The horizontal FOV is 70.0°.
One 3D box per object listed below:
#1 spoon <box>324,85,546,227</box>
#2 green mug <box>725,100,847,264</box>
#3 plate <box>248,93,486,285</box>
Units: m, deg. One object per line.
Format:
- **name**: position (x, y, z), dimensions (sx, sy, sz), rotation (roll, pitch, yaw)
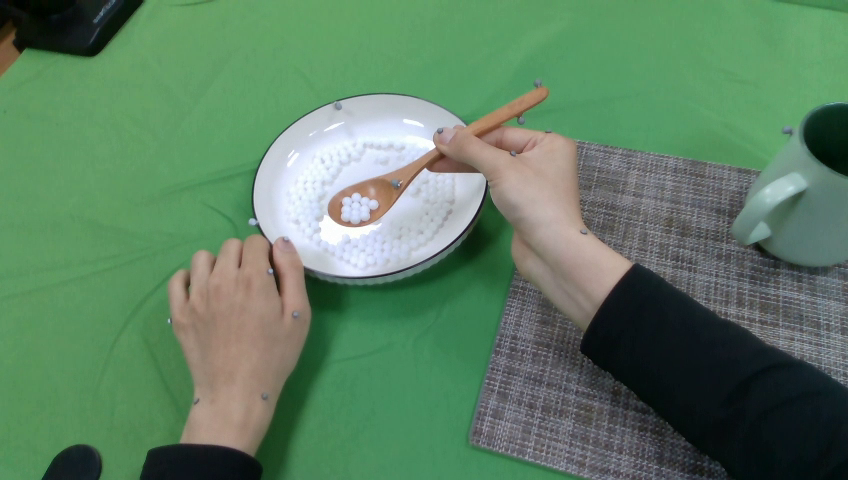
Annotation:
- **spoon**: position (0.010, -0.066, 0.462), dimensions (0.194, 0.022, 0.041), rotation (-32, 58, 3)
- **green mug**: position (0.286, -0.035, 0.459), dimensions (0.125, 0.106, 0.091), rotation (-24, 58, -10)
- **plate**: position (-0.049, -0.046, 0.542), dimensions (0.209, 0.038, 0.207), rotation (-2, 56, 4)
